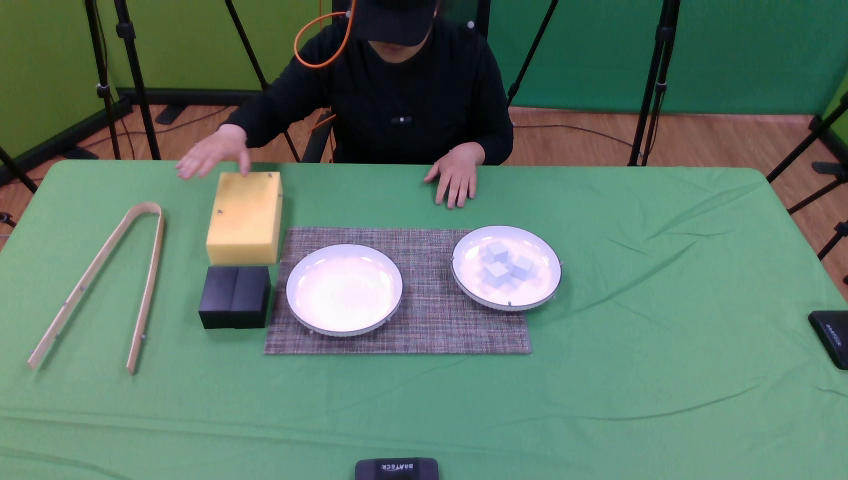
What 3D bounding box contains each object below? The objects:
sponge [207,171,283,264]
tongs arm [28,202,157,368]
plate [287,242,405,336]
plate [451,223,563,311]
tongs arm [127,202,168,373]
[{"bbox_3d":[-0.346,-0.048,1.191,0.118,0.061,0.205,-2,46,-6],"label":"sponge"},{"bbox_3d":[-0.579,0.064,1.084,0.051,0.026,0.382,6,45,1],"label":"tongs arm"},{"bbox_3d":[-0.138,0.090,1.085,0.208,0.039,0.206,2,46,-2],"label":"plate"},{"bbox_3d":[0.154,0.053,1.140,0.209,0.038,0.208,2,47,-2],"label":"plate"},{"bbox_3d":[-0.497,0.070,1.090,0.028,0.028,0.385,-6,47,-6],"label":"tongs arm"}]
